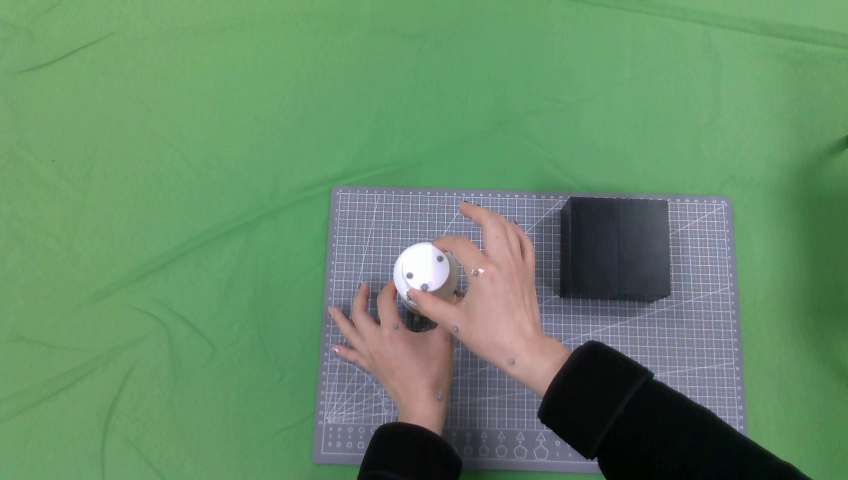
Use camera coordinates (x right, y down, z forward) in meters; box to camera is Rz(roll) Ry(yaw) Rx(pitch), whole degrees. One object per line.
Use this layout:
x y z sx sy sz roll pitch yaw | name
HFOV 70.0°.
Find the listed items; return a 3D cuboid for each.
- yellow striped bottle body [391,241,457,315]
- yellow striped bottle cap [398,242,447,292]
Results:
0.001 0.039 0.604 0.063 0.121 0.062 0 77 1 | yellow striped bottle body
-0.001 0.024 0.547 0.044 0.019 0.044 1 83 -5 | yellow striped bottle cap
